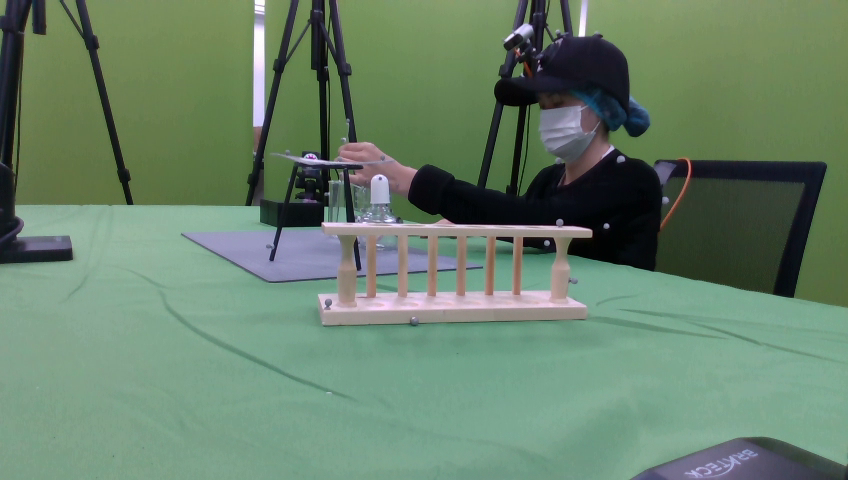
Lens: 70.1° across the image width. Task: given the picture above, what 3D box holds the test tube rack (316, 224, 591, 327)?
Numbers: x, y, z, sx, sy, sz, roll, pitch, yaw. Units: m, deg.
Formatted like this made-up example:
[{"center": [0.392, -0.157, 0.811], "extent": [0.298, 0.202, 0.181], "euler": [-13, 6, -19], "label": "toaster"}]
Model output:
[{"center": [0.026, 0.028, 0.555], "extent": [0.243, 0.085, 0.066], "euler": [1, 7, -14], "label": "test tube rack"}]

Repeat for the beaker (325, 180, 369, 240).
[{"center": [-0.133, -0.052, 1.058], "extent": [0.074, 0.100, 0.083], "euler": [-3, 10, -36], "label": "beaker"}]

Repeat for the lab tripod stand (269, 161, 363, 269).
[{"center": [-0.125, -0.036, 0.794], "extent": [0.148, 0.131, 0.148], "euler": [5, 7, 0], "label": "lab tripod stand"}]

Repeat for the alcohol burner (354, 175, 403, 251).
[{"center": [-0.072, -0.042, 0.944], "extent": [0.078, 0.119, 0.078], "euler": [1, 9, 0], "label": "alcohol burner"}]

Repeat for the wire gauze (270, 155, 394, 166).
[{"center": [-0.122, -0.102, 0.785], "extent": [0.122, 0.011, 0.124], "euler": [-3, 10, -39], "label": "wire gauze"}]

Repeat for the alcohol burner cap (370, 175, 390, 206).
[{"center": [-0.069, -0.077, 0.940], "extent": [0.034, 0.048, 0.034], "euler": [-1, 7, 0], "label": "alcohol burner cap"}]

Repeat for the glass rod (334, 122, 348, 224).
[{"center": [-0.146, -0.105, 1.056], "extent": [0.008, 0.199, 0.008], "euler": [8, 12, -1], "label": "glass rod"}]
